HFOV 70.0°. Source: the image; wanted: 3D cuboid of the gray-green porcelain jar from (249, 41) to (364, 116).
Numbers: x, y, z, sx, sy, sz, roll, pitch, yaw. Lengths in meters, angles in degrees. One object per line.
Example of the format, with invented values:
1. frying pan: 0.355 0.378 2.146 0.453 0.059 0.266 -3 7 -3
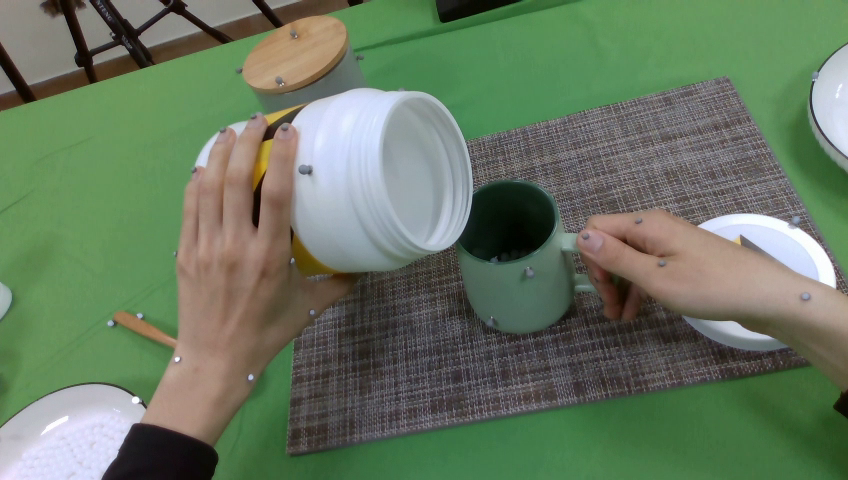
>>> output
1. gray-green porcelain jar: -0.109 -0.133 0.628 0.106 0.128 0.105 -9 49 11

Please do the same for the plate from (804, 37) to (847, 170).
1. plate: 0.429 -0.105 0.498 0.207 0.039 0.205 -8 53 12

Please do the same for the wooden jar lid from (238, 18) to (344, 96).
1. wooden jar lid: -0.125 -0.172 0.581 0.108 0.021 0.107 -11 52 14

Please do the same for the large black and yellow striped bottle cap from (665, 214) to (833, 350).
1. large black and yellow striped bottle cap: 0.248 0.029 0.468 0.115 0.019 0.114 -9 53 13

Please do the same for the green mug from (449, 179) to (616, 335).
1. green mug: 0.085 0.016 0.472 0.125 0.106 0.092 4 56 21

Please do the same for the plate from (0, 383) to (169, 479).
1. plate: -0.299 0.220 0.493 0.209 0.038 0.207 -8 53 12

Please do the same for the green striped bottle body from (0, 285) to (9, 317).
1. green striped bottle body: -0.506 0.046 0.630 0.063 0.120 0.062 -9 53 12

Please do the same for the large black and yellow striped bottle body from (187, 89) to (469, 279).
1. large black and yellow striped bottle body: -0.071 -0.038 0.456 0.183 0.132 0.130 -5 53 35

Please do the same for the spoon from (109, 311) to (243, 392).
1. spoon: -0.239 0.096 0.573 0.192 0.022 0.041 16 79 26
